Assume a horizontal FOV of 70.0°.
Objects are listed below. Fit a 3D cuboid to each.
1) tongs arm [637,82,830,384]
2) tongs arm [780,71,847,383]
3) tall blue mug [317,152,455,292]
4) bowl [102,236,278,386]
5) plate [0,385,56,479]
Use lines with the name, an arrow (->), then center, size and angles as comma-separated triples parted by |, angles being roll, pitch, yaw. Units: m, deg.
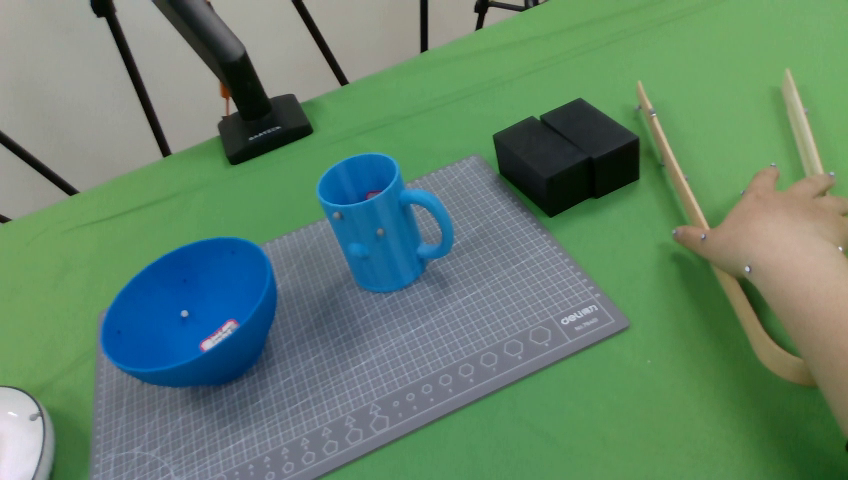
tongs arm -> 0.256, -0.040, 0.546 | 0.051, 0.027, 0.381 | -3, 43, 7
tongs arm -> 0.336, -0.042, 0.530 | 0.028, 0.028, 0.385 | 9, 46, 14
tall blue mug -> -0.030, -0.019, 0.562 | 0.107, 0.109, 0.077 | -16, 41, 2
bowl -> -0.191, 0.075, 0.539 | 0.151, 0.077, 0.150 | -10, 42, 9
plate -> -0.398, 0.216, 0.492 | 0.209, 0.038, 0.207 | -9, 42, 9
